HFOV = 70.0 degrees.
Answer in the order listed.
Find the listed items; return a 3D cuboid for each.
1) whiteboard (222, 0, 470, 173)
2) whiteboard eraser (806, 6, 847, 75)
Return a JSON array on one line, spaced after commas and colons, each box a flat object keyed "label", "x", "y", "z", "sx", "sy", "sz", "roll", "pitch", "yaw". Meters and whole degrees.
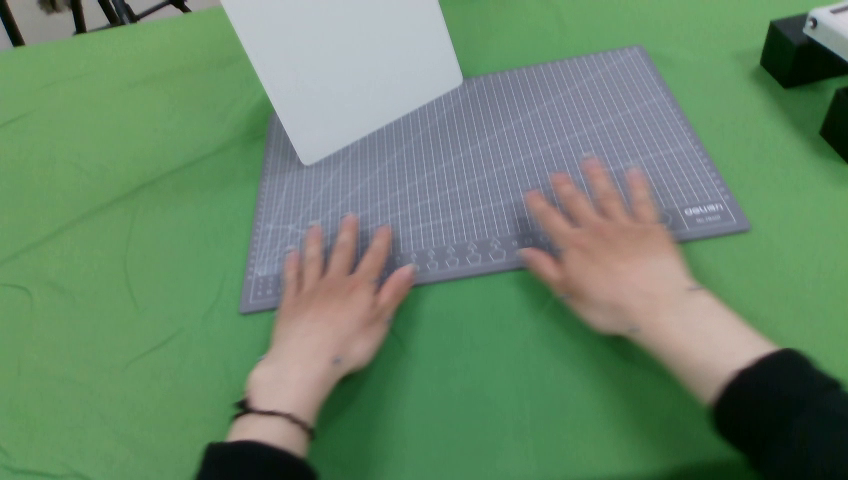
[{"label": "whiteboard", "x": -0.116, "y": -0.270, "z": 0.668, "sx": 0.217, "sy": 0.308, "sz": 0.142, "roll": -30, "pitch": 29, "yaw": -14}, {"label": "whiteboard eraser", "x": 0.403, "y": -0.172, "z": 0.544, "sx": 0.055, "sy": 0.042, "sz": 0.111, "roll": -17, "pitch": 44, "yaw": 4}]
